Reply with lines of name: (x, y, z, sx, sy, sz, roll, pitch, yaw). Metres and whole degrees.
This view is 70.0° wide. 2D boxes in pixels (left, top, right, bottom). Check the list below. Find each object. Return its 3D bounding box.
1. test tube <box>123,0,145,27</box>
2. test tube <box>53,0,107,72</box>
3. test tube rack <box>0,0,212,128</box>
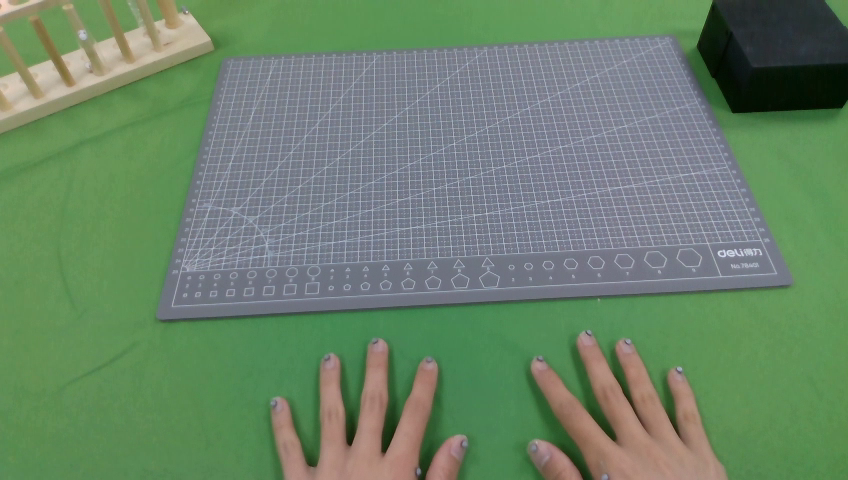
test tube: (-0.287, -0.259, 0.548, 0.017, 0.151, 0.017, -2, 56, 4)
test tube: (-0.311, -0.210, 0.518, 0.017, 0.152, 0.017, 0, 53, 1)
test tube rack: (-0.333, -0.187, 0.558, 0.242, 0.086, 0.066, -29, 57, -18)
